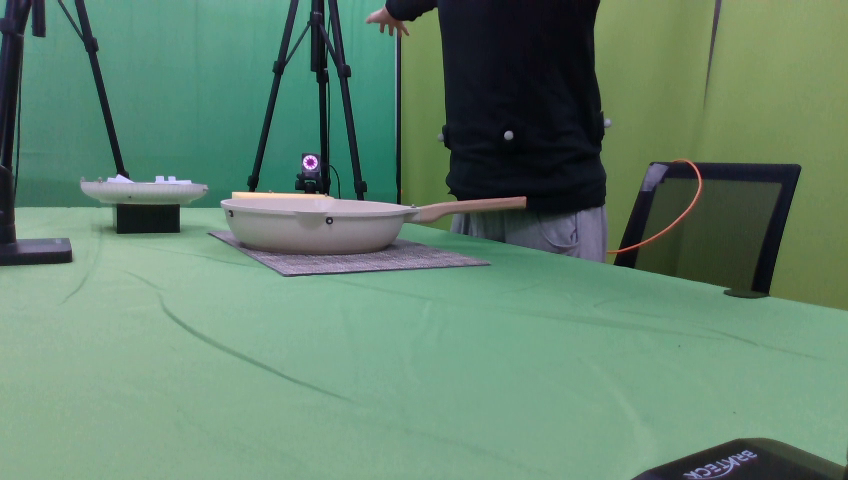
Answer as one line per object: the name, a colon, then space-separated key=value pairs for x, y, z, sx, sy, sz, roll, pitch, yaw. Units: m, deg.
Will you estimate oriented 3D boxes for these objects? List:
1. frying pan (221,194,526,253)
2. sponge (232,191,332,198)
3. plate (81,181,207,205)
frying pan: x=-0.070 y=-0.043 z=0.984 sx=0.489 sy=0.102 sz=0.306 roll=-7 pitch=9 yaw=-5
sponge: x=-0.318 y=-0.074 z=1.355 sx=0.208 sy=0.061 sz=0.117 roll=0 pitch=8 yaw=-24
plate: x=-0.504 y=-0.086 z=1.100 sx=0.208 sy=0.039 sz=0.207 roll=2 pitch=6 yaw=0
